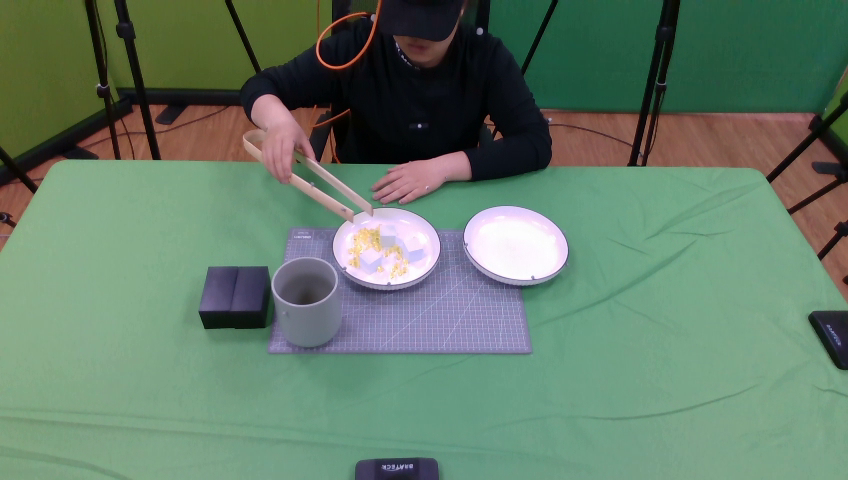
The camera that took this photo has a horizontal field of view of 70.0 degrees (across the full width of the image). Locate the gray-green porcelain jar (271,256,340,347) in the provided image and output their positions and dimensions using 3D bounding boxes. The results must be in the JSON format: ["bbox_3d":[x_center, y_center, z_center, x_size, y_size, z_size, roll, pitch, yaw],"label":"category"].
[{"bbox_3d":[-0.193,0.107,1.004,0.106,0.127,0.105,2,46,-2],"label":"gray-green porcelain jar"}]

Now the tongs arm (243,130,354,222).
[{"bbox_3d":[-0.246,-0.132,1.171,0.382,0.026,0.051,31,48,33],"label":"tongs arm"}]

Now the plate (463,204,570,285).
[{"bbox_3d":[0.178,0.012,1.184,0.209,0.038,0.208,3,46,-3],"label":"plate"}]

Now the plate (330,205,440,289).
[{"bbox_3d":[-0.074,0.017,1.160,0.208,0.039,0.206,2,46,-2],"label":"plate"}]

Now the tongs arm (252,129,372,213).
[{"bbox_3d":[-0.226,-0.142,1.185,0.028,0.028,0.385,-33,48,-30],"label":"tongs arm"}]
